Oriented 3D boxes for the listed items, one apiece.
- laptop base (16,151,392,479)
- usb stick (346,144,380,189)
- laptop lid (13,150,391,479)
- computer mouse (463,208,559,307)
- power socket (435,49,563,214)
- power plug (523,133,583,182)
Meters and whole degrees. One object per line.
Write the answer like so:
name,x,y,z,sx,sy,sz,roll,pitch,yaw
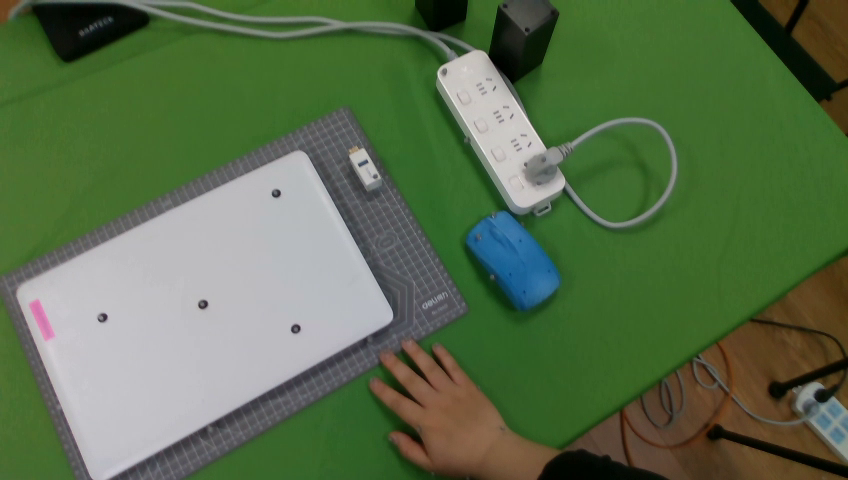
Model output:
laptop base,-0.242,0.071,0.677,0.354,0.023,0.234,-28,80,-9
usb stick,-0.076,-0.092,0.721,0.021,0.027,0.059,-30,75,-5
laptop lid,-0.241,0.069,0.665,0.357,0.013,0.240,-27,79,-9
computer mouse,0.099,0.017,0.692,0.063,0.041,0.116,-34,73,-8
power socket,0.089,-0.135,0.737,0.072,0.033,0.225,-27,77,-8
power plug,0.151,-0.091,0.705,0.072,0.053,0.035,-16,77,-7
